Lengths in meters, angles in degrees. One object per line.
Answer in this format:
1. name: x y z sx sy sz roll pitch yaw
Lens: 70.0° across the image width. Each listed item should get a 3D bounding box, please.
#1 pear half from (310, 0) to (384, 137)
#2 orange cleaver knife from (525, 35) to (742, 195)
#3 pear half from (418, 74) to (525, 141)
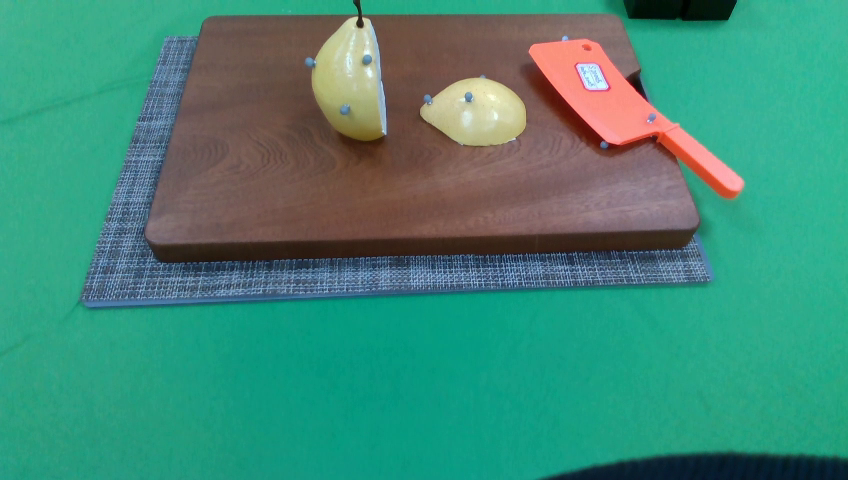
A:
1. pear half: -0.059 -0.131 0.450 0.056 0.111 0.075 -7 51 -6
2. orange cleaver knife: 0.165 -0.107 0.498 0.077 0.012 0.209 -24 61 -23
3. pear half: 0.040 -0.115 0.494 0.088 0.031 0.070 5 48 -2
